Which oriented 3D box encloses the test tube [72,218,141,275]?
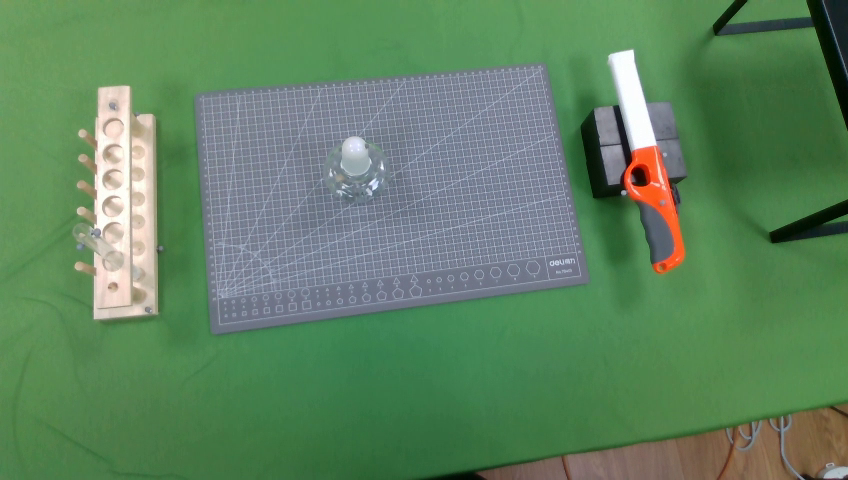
[{"bbox_3d":[-0.315,0.010,0.610,0.017,0.151,0.017,2,72,-6],"label":"test tube"}]

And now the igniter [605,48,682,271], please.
[{"bbox_3d":[0.260,-0.099,0.721,0.057,0.025,0.275,-10,78,5],"label":"igniter"}]

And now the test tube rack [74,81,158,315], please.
[{"bbox_3d":[-0.344,-0.044,0.670,0.067,0.085,0.241,-5,78,-6],"label":"test tube rack"}]

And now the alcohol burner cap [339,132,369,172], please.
[{"bbox_3d":[-0.076,-0.098,0.653,0.034,0.048,0.033,2,71,-5],"label":"alcohol burner cap"}]

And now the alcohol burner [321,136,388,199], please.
[{"bbox_3d":[-0.079,-0.089,0.688,0.078,0.119,0.077,1,78,-4],"label":"alcohol burner"}]
